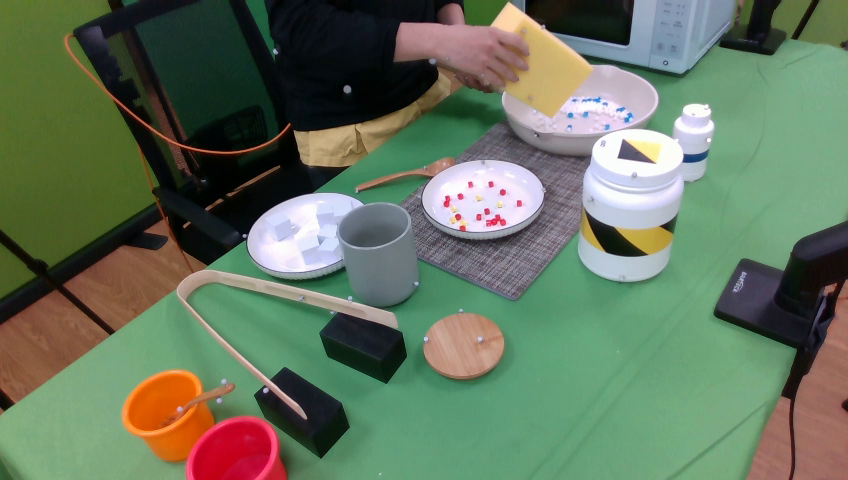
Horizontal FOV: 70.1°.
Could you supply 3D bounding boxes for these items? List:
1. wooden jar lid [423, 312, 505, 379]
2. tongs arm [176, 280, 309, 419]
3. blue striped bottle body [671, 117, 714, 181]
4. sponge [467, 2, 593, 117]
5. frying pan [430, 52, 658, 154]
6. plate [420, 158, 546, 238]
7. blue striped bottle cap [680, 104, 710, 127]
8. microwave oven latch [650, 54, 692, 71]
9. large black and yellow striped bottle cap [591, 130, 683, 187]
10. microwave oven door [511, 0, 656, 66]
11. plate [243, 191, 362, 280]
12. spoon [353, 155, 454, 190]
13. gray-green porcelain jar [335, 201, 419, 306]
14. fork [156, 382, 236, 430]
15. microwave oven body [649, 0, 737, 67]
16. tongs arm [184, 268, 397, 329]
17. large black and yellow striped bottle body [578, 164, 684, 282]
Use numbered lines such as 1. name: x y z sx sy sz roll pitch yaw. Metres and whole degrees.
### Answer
1. wooden jar lid: 0.053 0.142 0.800 0.108 0.021 0.108 -5 39 4
2. tongs arm: -0.254 0.133 0.801 0.028 0.028 0.384 -41 41 -23
3. blue striped bottle body: 0.449 -0.165 1.022 0.063 0.121 0.063 -5 41 4
4. sponge: 0.192 -0.317 1.083 0.209 0.118 0.060 17 32 -40
5. frying pan: 0.215 -0.302 1.223 0.484 0.103 0.308 29 49 24
6. plate: 0.099 -0.067 1.017 0.209 0.038 0.208 -4 40 4
7. blue striped bottle cap: 0.443 -0.205 0.989 0.044 0.021 0.044 -1 41 2
8. microwave oven latch: 0.531 -0.386 1.301 0.078 0.029 0.030 25 51 32
9. large black and yellow striped bottle cap: 0.282 -0.111 0.803 0.115 0.019 0.114 -3 41 3
10. microwave oven door: 0.351 -0.539 1.349 0.353 0.245 0.039 24 50 31
11. plate: -0.188 -0.005 0.992 0.207 0.039 0.206 -4 41 4
12. spoon: -0.038 -0.123 1.116 0.194 0.022 0.041 -12 58 -4
13. gray-green porcelain jar: -0.064 0.024 0.872 0.106 0.127 0.105 -4 41 4
14. fork: -0.262 0.189 0.690 0.018 0.206 0.028 49 43 -7
15. microwave oven body: 0.475 -0.602 1.411 0.438 0.261 0.327 23 50 32
16. tongs arm: -0.202 0.084 0.848 0.382 0.027 0.051 11 45 35
17. large black and yellow striped bottle body: 0.291 -0.046 0.859 0.131 0.185 0.130 -4 41 4
